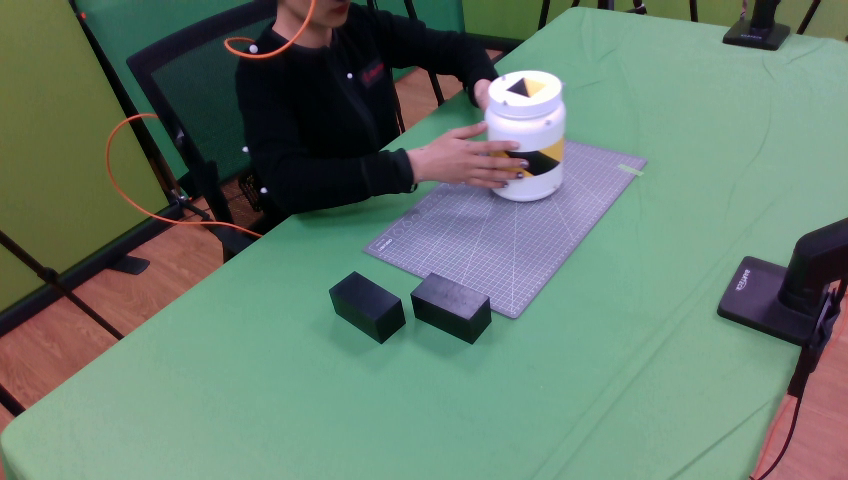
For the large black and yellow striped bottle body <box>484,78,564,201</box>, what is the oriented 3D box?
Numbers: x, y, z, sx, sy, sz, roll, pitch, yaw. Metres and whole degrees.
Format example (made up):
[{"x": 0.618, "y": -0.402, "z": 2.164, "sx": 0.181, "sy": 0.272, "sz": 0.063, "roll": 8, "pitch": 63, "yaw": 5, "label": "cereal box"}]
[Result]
[{"x": 0.169, "y": -0.172, "z": 1.018, "sx": 0.131, "sy": 0.185, "sz": 0.130, "roll": -5, "pitch": 41, "yaw": 5, "label": "large black and yellow striped bottle body"}]

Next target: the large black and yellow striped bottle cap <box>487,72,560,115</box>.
[{"x": 0.158, "y": -0.236, "z": 0.965, "sx": 0.115, "sy": 0.019, "sz": 0.114, "roll": -4, "pitch": 42, "yaw": 4, "label": "large black and yellow striped bottle cap"}]
